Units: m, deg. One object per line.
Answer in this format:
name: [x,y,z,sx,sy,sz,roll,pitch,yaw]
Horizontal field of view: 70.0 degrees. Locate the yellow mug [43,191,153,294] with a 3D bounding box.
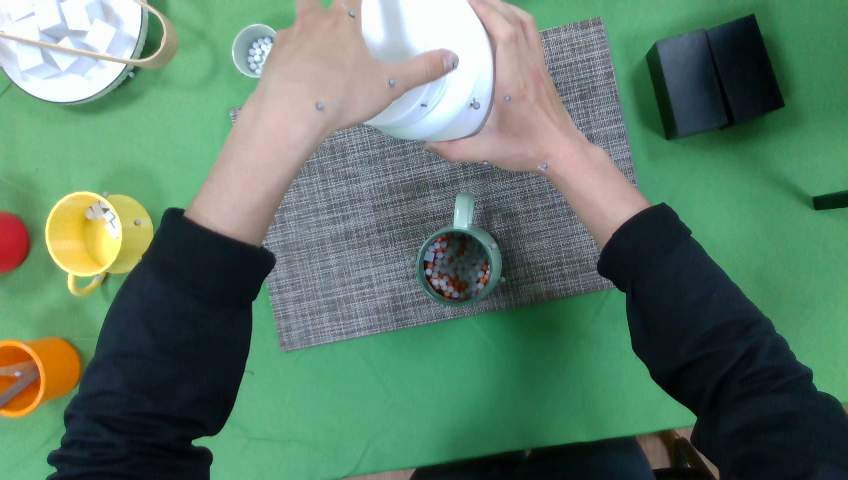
yellow mug: [-0.399,0.005,0.737,0.100,0.064,0.131,21,95,6]

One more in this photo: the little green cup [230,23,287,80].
little green cup: [-0.192,-0.220,0.715,0.061,0.038,0.061,0,93,8]

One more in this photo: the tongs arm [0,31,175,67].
tongs arm: [-0.480,-0.259,0.720,0.384,0.026,0.051,17,91,8]

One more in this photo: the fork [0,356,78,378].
fork: [-0.529,0.154,0.716,0.209,0.018,0.028,5,90,-36]

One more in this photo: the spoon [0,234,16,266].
spoon: [-0.561,-0.038,0.716,0.041,0.021,0.196,-16,135,7]

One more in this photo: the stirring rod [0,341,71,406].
stirring rod: [-0.500,0.185,0.720,0.014,0.006,0.175,38,54,4]

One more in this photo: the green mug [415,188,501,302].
green mug: [0.038,0.006,0.656,0.092,0.105,0.125,5,92,8]

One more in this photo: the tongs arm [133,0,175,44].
tongs arm: [-0.449,-0.337,0.715,0.386,0.028,0.028,31,89,7]

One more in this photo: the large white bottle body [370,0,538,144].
large white bottle body: [0.011,-0.157,0.548,0.130,0.185,0.131,4,97,32]

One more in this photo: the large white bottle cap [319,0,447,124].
large white bottle cap: [-0.035,-0.150,0.476,0.114,0.018,0.115,4,97,32]

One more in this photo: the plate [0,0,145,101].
plate: [-0.436,-0.274,0.746,0.207,0.039,0.207,0,92,7]
